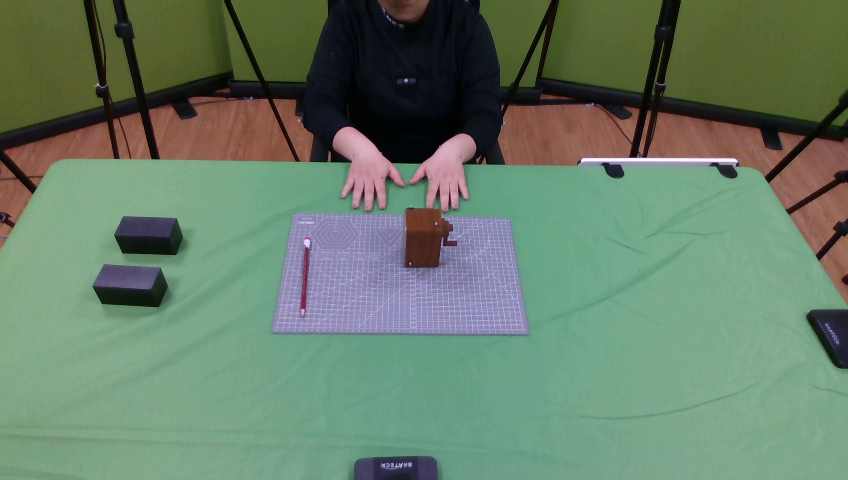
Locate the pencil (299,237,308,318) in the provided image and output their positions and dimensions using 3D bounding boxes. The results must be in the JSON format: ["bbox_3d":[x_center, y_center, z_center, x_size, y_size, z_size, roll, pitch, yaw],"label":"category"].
[{"bbox_3d":[-0.223,0.066,1.120,0.012,0.012,0.192,-2,47,-6],"label":"pencil"}]

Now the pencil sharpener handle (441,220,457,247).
[{"bbox_3d":[0.049,-0.012,1.133,0.031,0.068,0.036,0,46,-5],"label":"pencil sharpener handle"}]

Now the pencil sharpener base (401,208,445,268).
[{"bbox_3d":[-0.003,-0.003,1.137,0.077,0.107,0.061,0,45,-5],"label":"pencil sharpener base"}]
